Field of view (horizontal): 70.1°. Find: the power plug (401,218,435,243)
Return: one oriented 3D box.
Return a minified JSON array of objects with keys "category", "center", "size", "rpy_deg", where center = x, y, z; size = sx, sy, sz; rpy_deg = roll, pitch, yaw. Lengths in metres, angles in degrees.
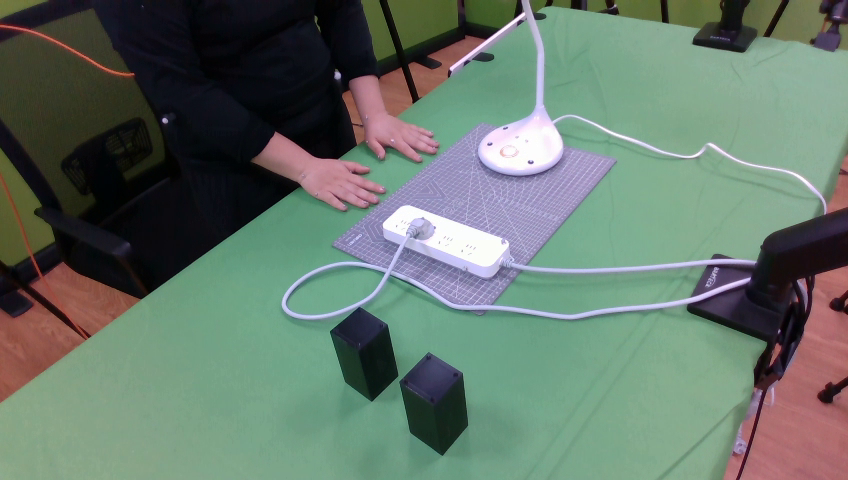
[{"category":"power plug","center":[-0.014,-0.005,0.937],"size":[0.073,0.053,0.035],"rpy_deg":[-37,46,-27]}]

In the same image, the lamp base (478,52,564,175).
[{"category":"lamp base","center":[0.181,-0.236,1.095],"size":[0.159,0.181,0.179],"rpy_deg":[20,44,29]}]

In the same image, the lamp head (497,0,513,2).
[{"category":"lamp head","center":[0.120,-0.420,0.861],"size":[0.111,0.113,0.123],"rpy_deg":[24,72,32]}]

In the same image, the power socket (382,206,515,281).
[{"category":"power socket","center":[0.032,0.002,0.950],"size":[0.225,0.033,0.072],"rpy_deg":[21,49,29]}]
